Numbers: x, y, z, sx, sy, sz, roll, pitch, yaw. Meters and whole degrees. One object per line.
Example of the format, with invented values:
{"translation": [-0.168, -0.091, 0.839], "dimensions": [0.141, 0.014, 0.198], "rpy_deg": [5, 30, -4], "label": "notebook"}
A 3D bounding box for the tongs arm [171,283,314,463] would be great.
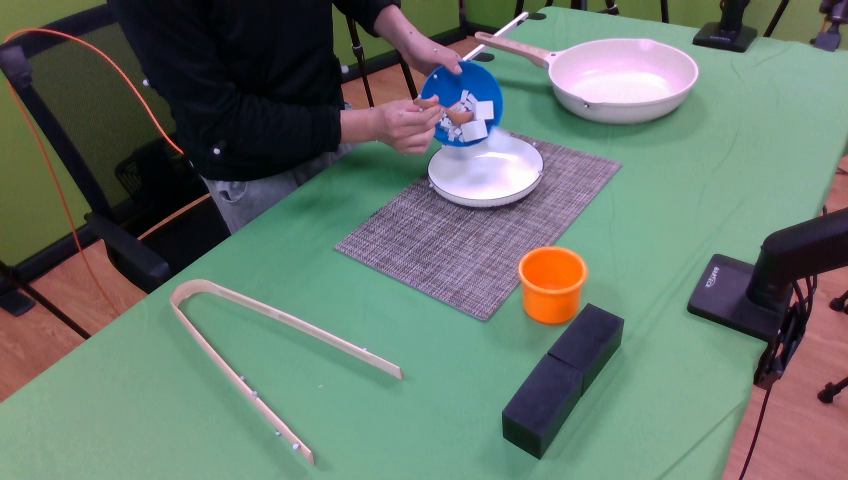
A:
{"translation": [-0.246, 0.161, 0.806], "dimensions": [0.381, 0.026, 0.051], "rpy_deg": [29, 51, 36], "label": "tongs arm"}

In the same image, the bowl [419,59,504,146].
{"translation": [0.064, -0.241, 1.090], "dimensions": [0.151, 0.151, 0.076], "rpy_deg": [-9, 5, -2], "label": "bowl"}

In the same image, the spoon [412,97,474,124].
{"translation": [0.032, -0.217, 1.006], "dimensions": [0.041, 0.195, 0.021], "rpy_deg": [-29, 74, 29], "label": "spoon"}

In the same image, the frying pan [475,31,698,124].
{"translation": [0.320, -0.371, 1.290], "dimensions": [0.485, 0.103, 0.307], "rpy_deg": [28, 50, 23], "label": "frying pan"}

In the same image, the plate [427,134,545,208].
{"translation": [0.110, -0.119, 1.073], "dimensions": [0.207, 0.039, 0.206], "rpy_deg": [-4, 41, 4], "label": "plate"}

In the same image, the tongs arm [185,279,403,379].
{"translation": [-0.194, 0.119, 0.853], "dimensions": [0.385, 0.028, 0.028], "rpy_deg": [17, 49, 26], "label": "tongs arm"}
